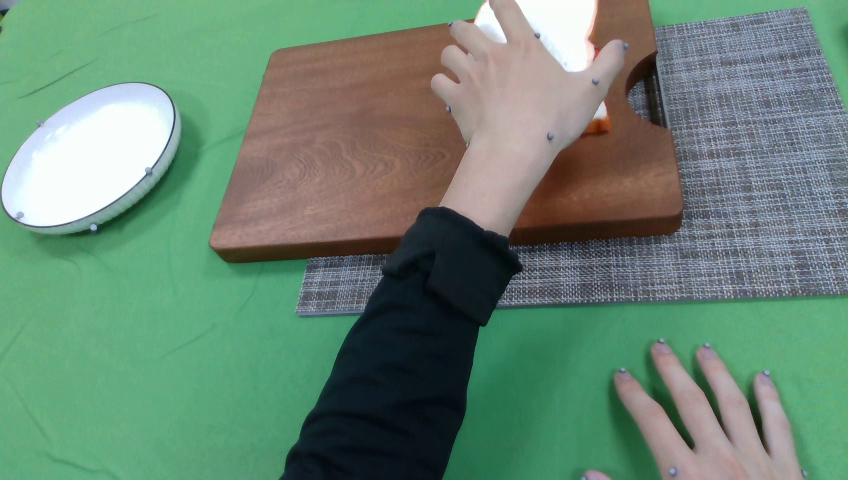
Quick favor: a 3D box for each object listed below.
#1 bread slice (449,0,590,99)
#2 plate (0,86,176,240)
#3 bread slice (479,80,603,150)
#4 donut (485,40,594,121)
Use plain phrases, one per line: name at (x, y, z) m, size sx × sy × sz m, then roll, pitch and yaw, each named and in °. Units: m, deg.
bread slice at (0.080, -0.167, 0.493) m, size 0.106 × 0.018 × 0.133 m, roll -3°, pitch 55°, yaw 19°
plate at (-0.363, -0.083, 0.665) m, size 0.209 × 0.038 × 0.207 m, roll -8°, pitch 55°, yaw 12°
bread slice at (0.098, -0.140, 0.545) m, size 0.105 × 0.019 × 0.130 m, roll -7°, pitch 56°, yaw 11°
donut at (0.093, -0.143, 0.511) m, size 0.099 × 0.049 × 0.098 m, roll -7°, pitch 56°, yaw 11°
